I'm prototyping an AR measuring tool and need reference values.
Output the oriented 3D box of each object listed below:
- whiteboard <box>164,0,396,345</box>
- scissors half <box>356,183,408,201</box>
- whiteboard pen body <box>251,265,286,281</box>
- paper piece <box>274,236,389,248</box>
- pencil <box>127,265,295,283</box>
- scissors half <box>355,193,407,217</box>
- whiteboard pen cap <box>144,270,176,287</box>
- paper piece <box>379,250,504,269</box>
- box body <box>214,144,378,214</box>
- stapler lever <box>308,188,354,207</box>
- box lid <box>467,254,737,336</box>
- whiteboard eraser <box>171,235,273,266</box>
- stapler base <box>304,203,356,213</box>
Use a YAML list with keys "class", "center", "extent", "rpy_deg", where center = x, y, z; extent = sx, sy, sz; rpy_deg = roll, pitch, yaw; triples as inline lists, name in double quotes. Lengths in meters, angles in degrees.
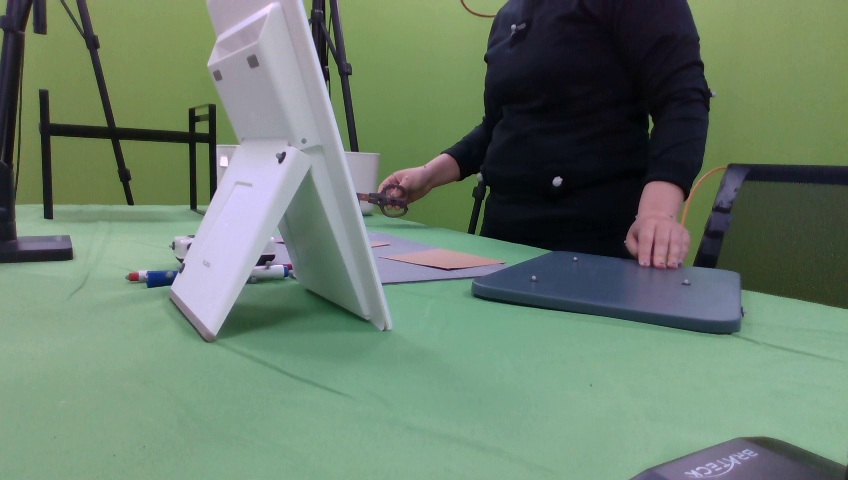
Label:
- class: "whiteboard"
  center: [-0.173, -0.053, 0.511]
  extent: [0.144, 0.305, 0.216]
  rpy_deg: [-23, 19, -26]
- class: "scissors half"
  center: [-0.123, -0.103, 1.315]
  extent: [0.175, 0.040, 0.013]
  rpy_deg: [-2, 9, -1]
- class: "whiteboard pen body"
  center: [-0.220, 0.039, 0.656]
  extent: [0.141, 0.017, 0.017]
  rpy_deg: [-2, 9, -30]
- class: "paper piece"
  center: [-0.151, 0.003, 0.978]
  extent: [0.135, 0.008, 0.139]
  rpy_deg: [13, 10, 35]
- class: "pencil"
  center: [-0.231, 0.037, 0.690]
  extent: [0.195, 0.012, 0.012]
  rpy_deg: [-2, 9, -34]
- class: "scissors half"
  center: [-0.124, -0.083, 1.317]
  extent: [0.175, 0.040, 0.013]
  rpy_deg: [14, 3, -3]
- class: "whiteboard pen cap"
  center: [-0.271, 0.039, 0.627]
  extent: [0.033, 0.018, 0.018]
  rpy_deg: [-4, 10, -32]
- class: "paper piece"
  center: [0.025, 0.027, 0.865]
  extent: [0.134, 0.004, 0.136]
  rpy_deg: [9, 9, 43]
- class: "box body"
  center: [-0.328, -0.154, 1.543]
  extent: [0.366, 0.160, 0.253]
  rpy_deg: [-2, 9, -32]
- class: "stapler lever"
  center: [-0.231, -0.106, 1.509]
  extent: [0.119, 0.040, 0.026]
  rpy_deg: [3, 9, -35]
- class: "box lid"
  center: [0.234, 0.055, 0.736]
  extent: [0.262, 0.015, 0.373]
  rpy_deg: [7, 7, 27]
- class: "whiteboard eraser"
  center: [-0.248, 0.014, 0.747]
  extent: [0.113, 0.042, 0.055]
  rpy_deg: [-1, 10, -32]
- class: "stapler base"
  center: [-0.235, -0.081, 1.511]
  extent: [0.131, 0.024, 0.041]
  rpy_deg: [2, 9, -35]
